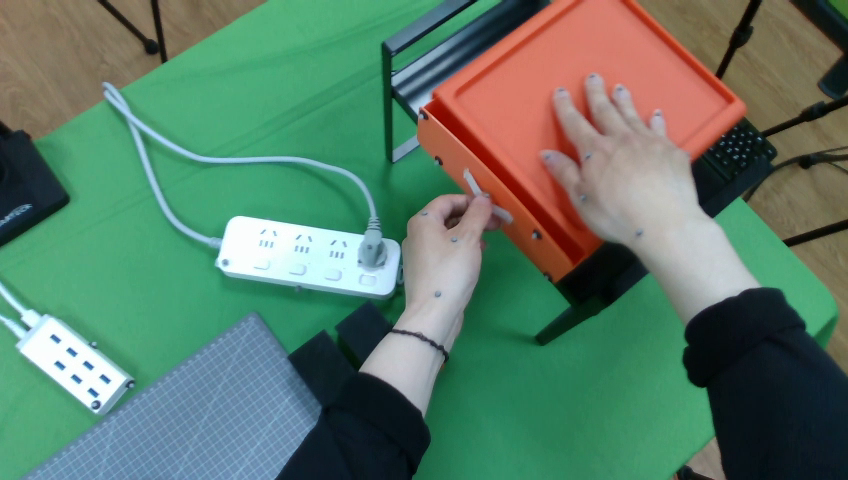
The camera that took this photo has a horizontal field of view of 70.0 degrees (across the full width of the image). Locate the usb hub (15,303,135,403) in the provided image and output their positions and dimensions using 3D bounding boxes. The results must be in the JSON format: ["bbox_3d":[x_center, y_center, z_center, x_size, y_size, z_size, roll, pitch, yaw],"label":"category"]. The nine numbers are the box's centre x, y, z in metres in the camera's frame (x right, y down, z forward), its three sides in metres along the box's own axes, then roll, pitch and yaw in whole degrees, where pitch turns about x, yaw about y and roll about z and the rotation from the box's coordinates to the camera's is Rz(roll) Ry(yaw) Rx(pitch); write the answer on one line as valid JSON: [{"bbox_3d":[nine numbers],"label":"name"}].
[{"bbox_3d":[-0.393,0.127,0.682,0.125,0.025,0.049,35,76,7],"label":"usb hub"}]

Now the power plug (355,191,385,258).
[{"bbox_3d":[-0.057,-0.013,0.719,0.035,0.053,0.072,20,72,3],"label":"power plug"}]

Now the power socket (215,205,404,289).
[{"bbox_3d":[-0.137,0.009,0.727,0.227,0.033,0.072,9,74,-1],"label":"power socket"}]

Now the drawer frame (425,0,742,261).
[{"bbox_3d":[0.142,-0.122,0.569,0.213,0.083,0.201,-41,80,-14],"label":"drawer frame"}]

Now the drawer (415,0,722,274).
[{"bbox_3d":[0.131,-0.108,0.565,0.211,0.073,0.193,-40,80,-13],"label":"drawer"}]
